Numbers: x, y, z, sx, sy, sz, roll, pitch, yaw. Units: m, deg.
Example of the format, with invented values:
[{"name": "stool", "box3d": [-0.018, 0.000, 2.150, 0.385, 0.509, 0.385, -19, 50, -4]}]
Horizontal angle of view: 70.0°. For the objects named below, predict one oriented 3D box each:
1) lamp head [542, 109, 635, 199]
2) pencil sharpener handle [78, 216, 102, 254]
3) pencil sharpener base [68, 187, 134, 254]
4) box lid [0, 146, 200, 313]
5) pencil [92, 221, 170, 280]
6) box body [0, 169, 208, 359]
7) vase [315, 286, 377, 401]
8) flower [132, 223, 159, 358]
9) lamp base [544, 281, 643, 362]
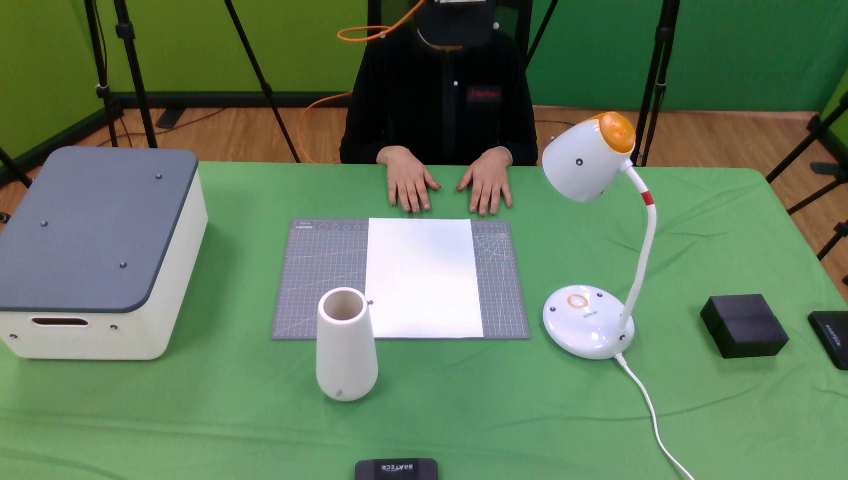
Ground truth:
[{"name": "lamp head", "box3d": [0.253, -0.131, 0.893, 0.113, 0.123, 0.112, 10, 66, -24]}, {"name": "pencil sharpener handle", "box3d": [-0.589, -0.007, 1.069, 0.036, 0.068, 0.030, -5, 44, 2]}, {"name": "pencil sharpener base", "box3d": [-0.591, -0.034, 1.114, 0.061, 0.107, 0.076, -3, 44, 0]}, {"name": "box lid", "box3d": [-0.536, -0.034, 0.989, 0.263, 0.015, 0.369, 1, 46, -3]}, {"name": "pencil", "box3d": [-0.552, 0.015, 1.153, 0.012, 0.012, 0.193, 20, 42, 15]}, {"name": "box body", "box3d": [-0.541, 0.021, 1.042, 0.254, 0.161, 0.361, 1, 46, -3]}, {"name": "vase", "box3d": [-0.119, 0.159, 0.911, 0.098, 0.201, 0.097, 2, 47, -2]}, {"name": "flower", "box3d": [-0.505, 0.073, 1.094, 0.044, 0.038, 0.359, -41, 43, 10]}, {"name": "lamp base", "box3d": [0.304, 0.095, 1.014, 0.161, 0.181, 0.178, -24, 54, -24]}]
